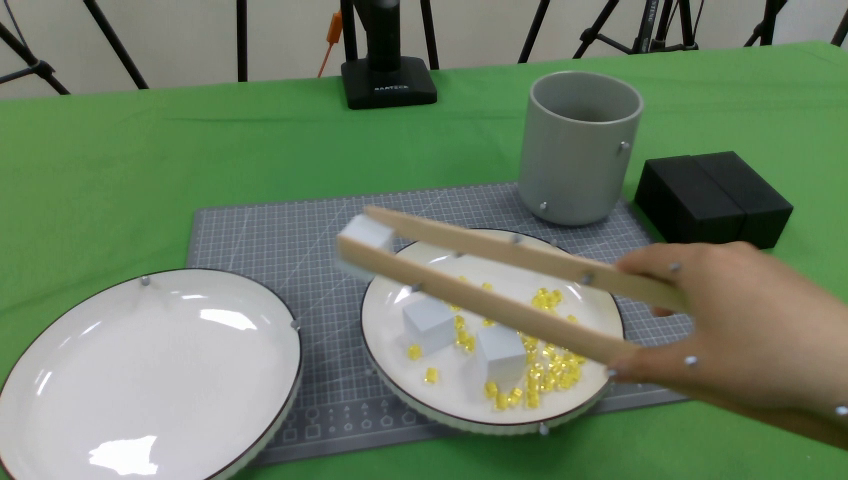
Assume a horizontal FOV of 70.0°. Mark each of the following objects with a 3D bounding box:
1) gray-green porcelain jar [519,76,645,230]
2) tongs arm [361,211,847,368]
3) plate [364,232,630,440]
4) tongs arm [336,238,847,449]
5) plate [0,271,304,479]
[{"bbox_3d":[0.151,-0.083,0.604,0.106,0.127,0.105,1,41,0],"label":"gray-green porcelain jar"},{"bbox_3d":[0.123,0.043,0.372,0.383,0.027,0.050,14,46,19],"label":"tongs arm"},{"bbox_3d":[0.056,0.073,0.490,0.208,0.039,0.205,1,41,0],"label":"plate"},{"bbox_3d":[0.111,0.058,0.357,0.385,0.028,0.028,17,43,22],"label":"tongs arm"},{"bbox_3d":[-0.191,0.106,0.443,0.209,0.038,0.207,0,41,0],"label":"plate"}]
